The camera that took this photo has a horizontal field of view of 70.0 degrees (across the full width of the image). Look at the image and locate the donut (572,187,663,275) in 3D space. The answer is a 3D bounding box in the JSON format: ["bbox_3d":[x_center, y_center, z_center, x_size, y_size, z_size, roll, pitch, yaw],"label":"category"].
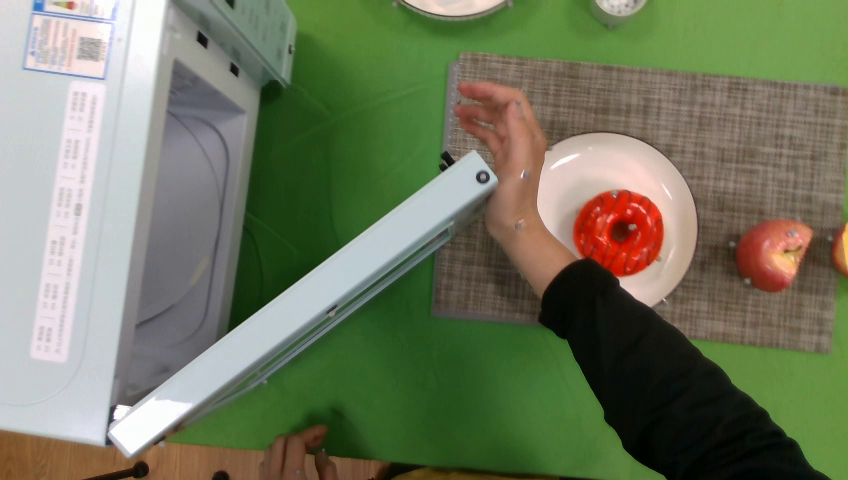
[{"bbox_3d":[0.213,-0.010,0.666,0.099,0.048,0.099,0,90,3],"label":"donut"}]

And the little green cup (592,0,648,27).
[{"bbox_3d":[0.221,-0.275,0.690,0.061,0.038,0.061,0,87,3],"label":"little green cup"}]

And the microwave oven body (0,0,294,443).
[{"bbox_3d":[-0.336,-0.073,0.591,0.326,0.260,0.441,8,89,2],"label":"microwave oven body"}]

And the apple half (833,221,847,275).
[{"bbox_3d":[0.469,0.012,0.665,0.082,0.032,0.081,6,79,-30],"label":"apple half"}]

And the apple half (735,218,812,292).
[{"bbox_3d":[0.367,0.010,0.653,0.053,0.075,0.081,25,93,7],"label":"apple half"}]

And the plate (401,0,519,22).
[{"bbox_3d":[0.043,-0.350,0.700,0.207,0.039,0.207,0,88,3],"label":"plate"}]

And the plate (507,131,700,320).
[{"bbox_3d":[0.197,-0.016,0.678,0.209,0.038,0.209,0,88,3],"label":"plate"}]

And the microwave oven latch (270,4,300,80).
[{"bbox_3d":[-0.161,-0.224,0.685,0.030,0.029,0.079,11,89,2],"label":"microwave oven latch"}]

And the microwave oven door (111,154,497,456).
[{"bbox_3d":[-0.086,0.054,0.571,0.356,0.244,0.039,-38,85,1],"label":"microwave oven door"}]
